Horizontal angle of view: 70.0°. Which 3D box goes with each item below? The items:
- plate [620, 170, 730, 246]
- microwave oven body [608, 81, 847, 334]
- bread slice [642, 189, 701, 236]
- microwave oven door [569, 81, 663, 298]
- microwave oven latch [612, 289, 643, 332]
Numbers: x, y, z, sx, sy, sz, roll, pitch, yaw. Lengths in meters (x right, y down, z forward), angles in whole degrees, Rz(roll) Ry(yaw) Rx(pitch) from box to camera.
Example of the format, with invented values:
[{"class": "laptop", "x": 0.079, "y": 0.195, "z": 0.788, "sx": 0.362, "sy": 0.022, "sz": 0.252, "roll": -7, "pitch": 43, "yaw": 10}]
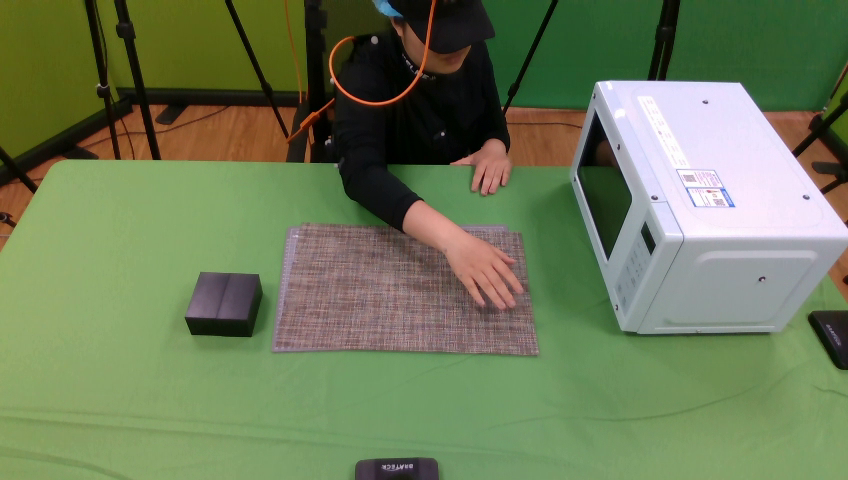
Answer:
[{"class": "plate", "x": 0.490, "y": -0.059, "z": 1.194, "sx": 0.209, "sy": 0.038, "sz": 0.208, "roll": 3, "pitch": 46, "yaw": -3}, {"class": "microwave oven body", "x": 0.501, "y": -0.070, "z": 1.132, "sx": 0.326, "sy": 0.261, "sz": 0.438, "roll": -1, "pitch": 45, "yaw": -4}, {"class": "bread slice", "x": 0.494, "y": -0.056, "z": 1.197, "sx": 0.105, "sy": 0.019, "sz": 0.131, "roll": 6, "pitch": 41, "yaw": 4}, {"class": "microwave oven door", "x": 0.353, "y": -0.103, "z": 1.147, "sx": 0.039, "sy": 0.245, "sz": 0.353, "roll": 0, "pitch": 46, "yaw": -4}, {"class": "microwave oven latch", "x": 0.357, "y": 0.124, "z": 1.068, "sx": 0.030, "sy": 0.029, "sz": 0.078, "roll": 0, "pitch": 45, "yaw": -3}]
